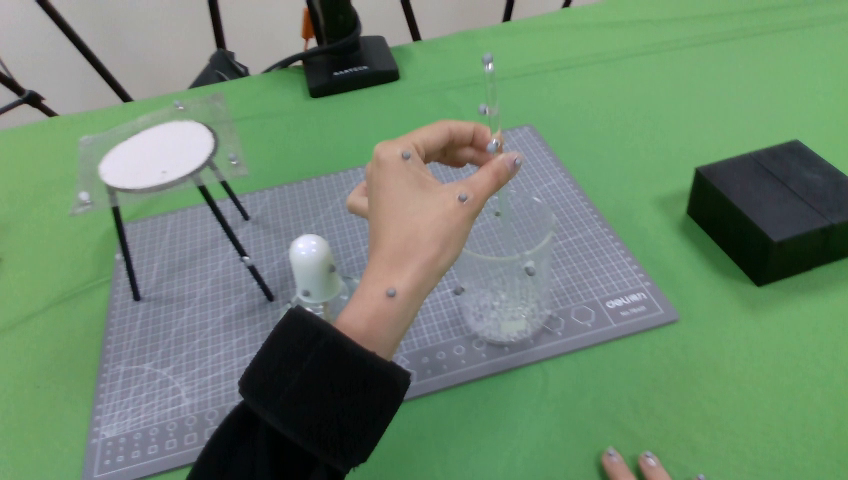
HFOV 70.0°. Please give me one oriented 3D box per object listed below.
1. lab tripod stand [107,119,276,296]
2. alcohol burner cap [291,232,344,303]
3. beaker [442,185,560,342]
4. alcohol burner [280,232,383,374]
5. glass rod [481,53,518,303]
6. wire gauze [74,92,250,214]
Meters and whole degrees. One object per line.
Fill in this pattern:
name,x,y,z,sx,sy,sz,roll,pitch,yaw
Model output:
lab tripod stand,-0.196,-0.021,0.512,0.148,0.133,0.147,-4,45,5
alcohol burner cap,-0.075,0.017,0.414,0.034,0.048,0.033,-3,41,3
beaker,0.058,0.022,0.452,0.084,0.101,0.073,-17,44,-8
alcohol burner,-0.071,0.042,0.440,0.078,0.120,0.077,-5,41,5
glass rod,0.050,-0.026,0.392,0.008,0.202,0.008,-7,42,7
wire gauze,-0.204,-0.069,0.465,0.125,0.011,0.120,-19,44,-10
